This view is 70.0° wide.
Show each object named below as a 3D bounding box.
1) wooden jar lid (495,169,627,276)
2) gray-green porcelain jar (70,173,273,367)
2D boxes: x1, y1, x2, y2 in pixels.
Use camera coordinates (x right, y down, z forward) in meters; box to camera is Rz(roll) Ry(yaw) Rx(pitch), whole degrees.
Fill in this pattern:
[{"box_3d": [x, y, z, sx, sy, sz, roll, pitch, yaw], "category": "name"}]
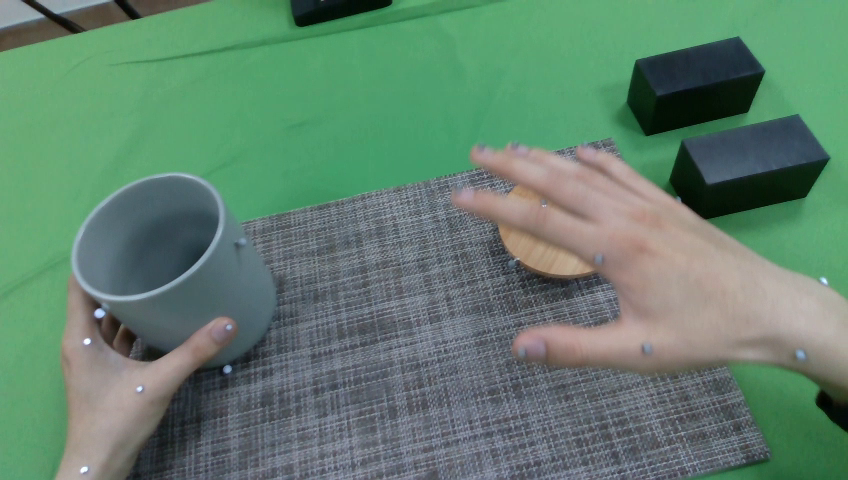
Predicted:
[{"box_3d": [0.114, -0.014, 0.510, 0.108, 0.021, 0.107, -3, 57, 6], "category": "wooden jar lid"}, {"box_3d": [-0.178, 0.030, 0.457, 0.106, 0.128, 0.105, -3, 55, 5], "category": "gray-green porcelain jar"}]
